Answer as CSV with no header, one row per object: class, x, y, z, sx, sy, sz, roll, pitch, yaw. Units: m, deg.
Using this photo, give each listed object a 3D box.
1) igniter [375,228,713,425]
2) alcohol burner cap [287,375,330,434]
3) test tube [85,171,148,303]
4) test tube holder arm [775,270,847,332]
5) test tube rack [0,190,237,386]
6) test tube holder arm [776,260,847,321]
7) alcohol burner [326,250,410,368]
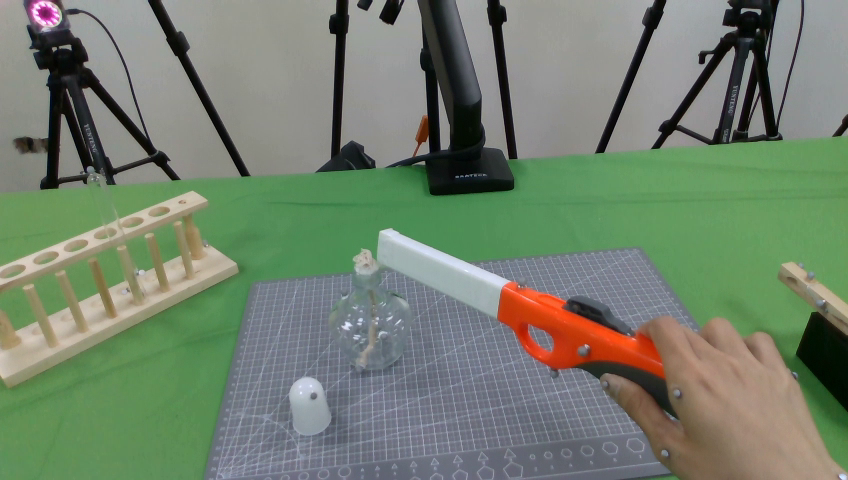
igniter,0.065,0.048,0.424,0.274,0.057,0.025,24,28,37
alcohol burner cap,-0.096,0.132,0.500,0.034,0.048,0.033,0,34,1
test tube,-0.301,0.001,0.596,0.017,0.151,0.017,-2,34,1
test tube holder arm,0.349,0.051,0.539,0.015,0.010,0.087,-14,32,-6
test tube rack,-0.324,0.039,0.623,0.066,0.086,0.242,27,43,36
test tube holder arm,0.358,0.069,0.499,0.015,0.013,0.176,-14,32,-6
alcohol burner,-0.051,0.057,0.546,0.078,0.120,0.077,0,35,1
